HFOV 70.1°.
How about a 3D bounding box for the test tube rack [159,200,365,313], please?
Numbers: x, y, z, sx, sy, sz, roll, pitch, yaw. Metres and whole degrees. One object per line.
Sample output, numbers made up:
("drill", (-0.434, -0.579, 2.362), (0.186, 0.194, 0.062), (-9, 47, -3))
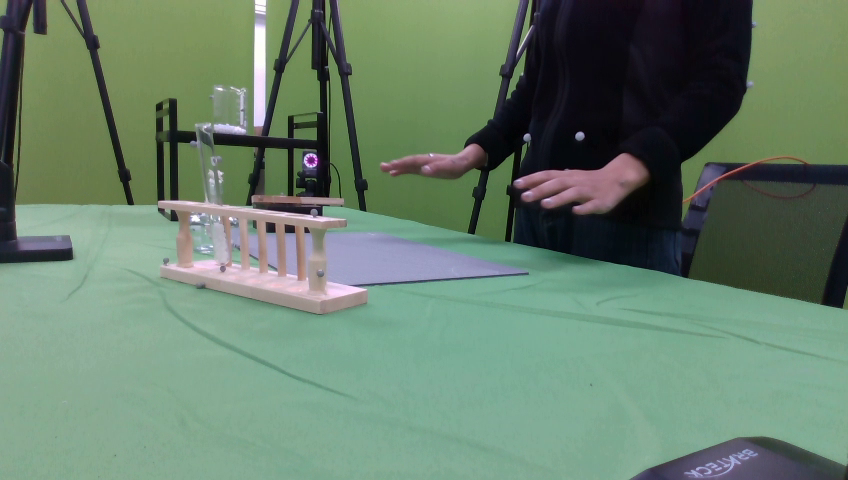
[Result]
("test tube rack", (-0.173, 0.009, 0.624), (0.241, 0.085, 0.067), (7, 9, 34))

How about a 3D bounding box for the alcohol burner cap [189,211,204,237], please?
("alcohol burner cap", (-0.389, -0.029, 1.026), (0.034, 0.048, 0.034), (2, 9, 0))

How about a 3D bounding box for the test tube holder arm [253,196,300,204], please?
("test tube holder arm", (-0.276, -0.075, 1.135), (0.088, 0.015, 0.010), (0, 6, -32))

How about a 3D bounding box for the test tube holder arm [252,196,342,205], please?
("test tube holder arm", (-0.241, -0.076, 1.164), (0.179, 0.015, 0.013), (0, 6, -33))

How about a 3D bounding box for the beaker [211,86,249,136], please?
("beaker", (-0.413, -0.274, 1.297), (0.074, 0.100, 0.083), (-5, 11, -44))

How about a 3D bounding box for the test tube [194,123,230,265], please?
("test tube", (-0.218, -0.045, 0.624), (0.017, 0.150, 0.017), (-2, 19, 1))

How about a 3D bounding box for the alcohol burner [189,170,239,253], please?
("alcohol burner", (-0.303, -0.042, 0.871), (0.078, 0.119, 0.078), (3, 6, 0))
